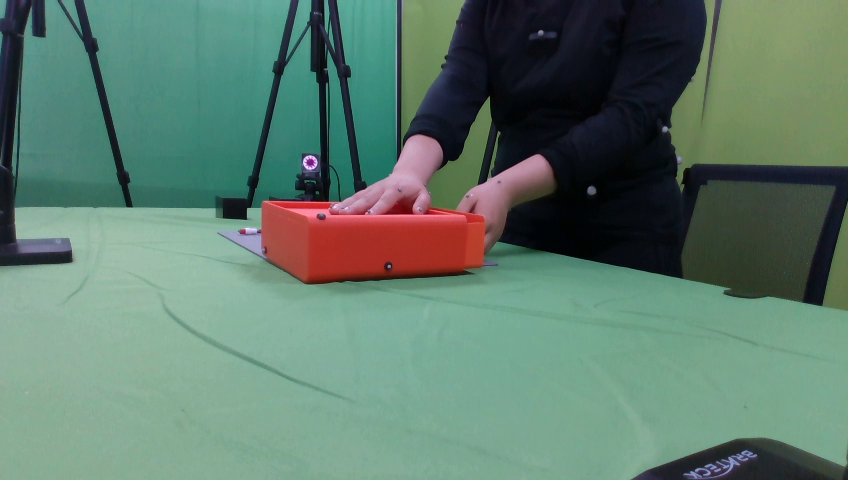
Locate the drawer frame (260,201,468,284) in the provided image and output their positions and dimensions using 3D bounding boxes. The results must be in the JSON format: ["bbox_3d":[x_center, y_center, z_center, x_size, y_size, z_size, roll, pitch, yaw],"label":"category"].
[{"bbox_3d":[-0.084,-0.005,0.794,0.215,0.082,0.200,-2,10,-30],"label":"drawer frame"}]

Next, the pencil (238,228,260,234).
[{"bbox_3d":[-0.241,-0.015,1.105,0.195,0.012,0.012,1,7,-30],"label":"pencil"}]

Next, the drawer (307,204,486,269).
[{"bbox_3d":[-0.056,-0.006,0.810,0.213,0.073,0.193,-2,10,-29],"label":"drawer"}]
